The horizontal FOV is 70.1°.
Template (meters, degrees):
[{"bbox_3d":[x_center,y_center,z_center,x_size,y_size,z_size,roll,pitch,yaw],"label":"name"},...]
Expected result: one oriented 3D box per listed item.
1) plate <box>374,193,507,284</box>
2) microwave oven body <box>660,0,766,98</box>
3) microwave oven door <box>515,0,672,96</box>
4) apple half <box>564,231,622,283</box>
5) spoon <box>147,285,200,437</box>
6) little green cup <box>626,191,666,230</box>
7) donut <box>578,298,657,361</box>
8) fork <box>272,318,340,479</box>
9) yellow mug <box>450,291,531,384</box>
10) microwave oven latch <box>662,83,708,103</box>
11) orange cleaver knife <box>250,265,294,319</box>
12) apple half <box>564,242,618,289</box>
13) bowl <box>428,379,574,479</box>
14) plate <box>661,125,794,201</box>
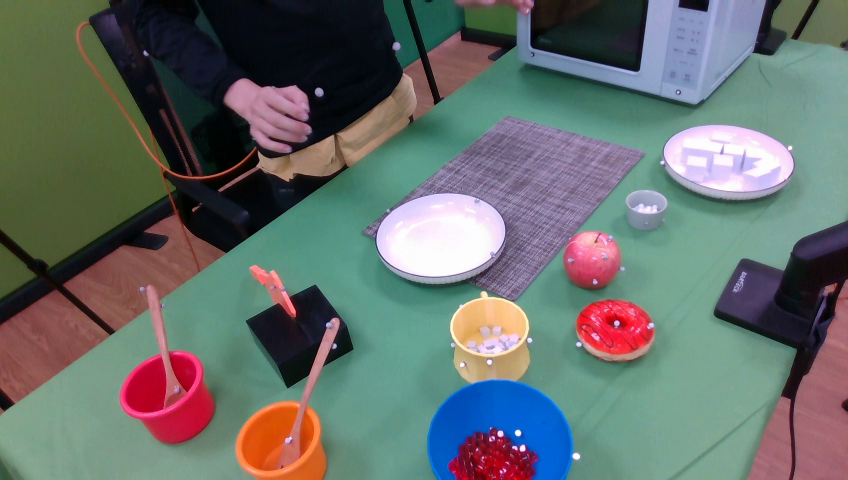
[{"bbox_3d":[0.027,0.000,0.952,0.209,0.038,0.208,-4,40,4],"label":"plate"},{"bbox_3d":[0.472,-0.513,1.317,0.438,0.261,0.327,26,51,34],"label":"microwave oven body"},{"bbox_3d":[0.343,-0.454,1.259,0.353,0.245,0.039,26,51,33],"label":"microwave oven door"},{"bbox_3d":[0.248,0.021,0.874,0.080,0.075,0.053,13,40,28],"label":"apple half"},{"bbox_3d":[-0.318,0.148,0.754,0.042,0.021,0.193,-15,85,-10],"label":"spoon"},{"bbox_3d":[0.352,-0.046,0.963,0.061,0.039,0.061,-4,40,4],"label":"little green cup"},{"bbox_3d":[0.250,0.115,0.786,0.099,0.048,0.098,-5,37,4],"label":"donut"},{"bbox_3d":[-0.131,0.186,0.676,0.028,0.019,0.207,18,90,28],"label":"fork"},{"bbox_3d":[0.085,0.120,0.786,0.100,0.064,0.130,-7,39,1],"label":"yellow mug"},{"bbox_3d":[0.517,-0.296,1.204,0.078,0.029,0.030,27,52,35],"label":"microwave oven latch"},{"bbox_3d":[-0.221,0.073,0.876,0.012,0.077,0.210,-24,12,-22],"label":"orange cleaver knife"},{"bbox_3d":[0.229,0.044,0.848,0.081,0.081,0.033,16,41,26],"label":"apple half"},{"bbox_3d":[0.082,0.233,0.644,0.151,0.077,0.150,-4,39,4],"label":"bowl"},{"bbox_3d":[0.513,-0.128,1.035,0.207,0.039,0.206,-4,40,4],"label":"plate"}]
